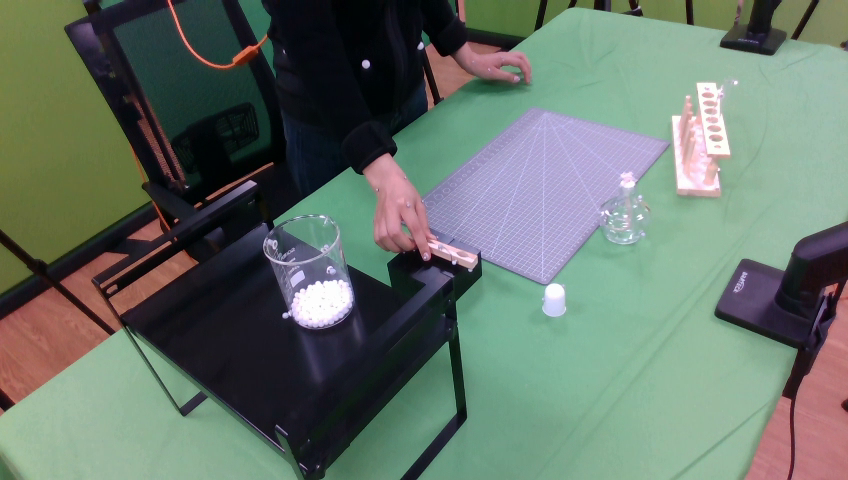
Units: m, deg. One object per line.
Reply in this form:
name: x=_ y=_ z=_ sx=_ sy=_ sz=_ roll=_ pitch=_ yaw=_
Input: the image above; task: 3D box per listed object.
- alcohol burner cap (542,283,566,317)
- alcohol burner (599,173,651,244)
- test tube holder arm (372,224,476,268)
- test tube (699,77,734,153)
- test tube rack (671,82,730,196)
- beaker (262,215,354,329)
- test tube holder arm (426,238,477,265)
alcohol burner cap: x=0.181 y=0.081 z=0.839 sx=0.034 sy=0.048 sz=0.033 roll=-3 pitch=40 yaw=3
alcohol burner: x=0.307 y=-0.052 z=0.920 sx=0.078 sy=0.119 sz=0.077 roll=-6 pitch=42 yaw=6
test tube holder arm: x=-0.004 y=0.007 z=0.887 sx=0.177 sy=0.015 sz=0.013 roll=18 pitch=36 yaw=27
test tube: x=0.489 y=-0.207 z=1.016 sx=0.017 sy=0.151 sz=0.017 roll=-2 pitch=48 yaw=3
test tube rack: x=0.482 y=-0.184 z=1.067 sx=0.066 sy=0.085 sz=0.242 roll=6 pitch=42 yaw=15
beaker: x=-0.112 y=0.034 z=0.616 sx=0.073 sy=0.101 sz=0.084 roll=13 pitch=44 yaw=23
test tube holder arm: x=0.037 y=0.017 z=0.871 sx=0.087 sy=0.015 sz=0.010 roll=19 pitch=36 yaw=28
